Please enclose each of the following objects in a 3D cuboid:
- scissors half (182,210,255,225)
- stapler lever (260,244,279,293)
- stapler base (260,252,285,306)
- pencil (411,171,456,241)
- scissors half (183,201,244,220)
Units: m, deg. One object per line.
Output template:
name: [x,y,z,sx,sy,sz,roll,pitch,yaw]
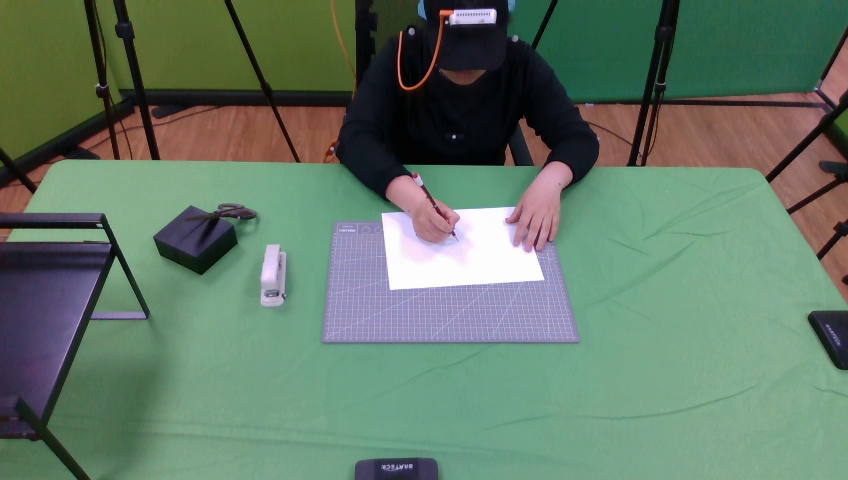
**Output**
scissors half: [-0.389,-0.042,1.158,0.040,0.013,0.175,42,22,22]
stapler lever: [-0.279,0.045,1.096,0.027,0.040,0.117,-2,44,-9]
stapler base: [-0.279,0.064,1.113,0.041,0.024,0.129,-2,44,-9]
pencil: [0.022,-0.059,1.147,0.012,0.195,0.012,-19,43,18]
scissors half: [-0.405,-0.054,1.163,0.040,0.013,0.175,30,18,7]
